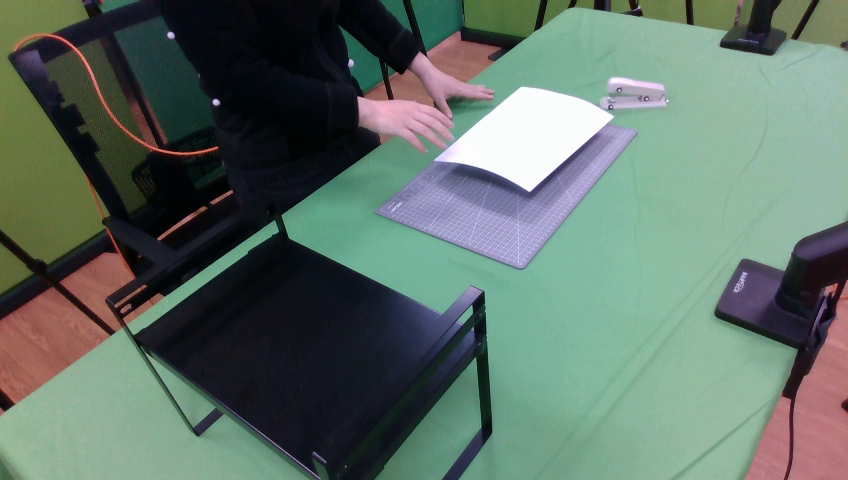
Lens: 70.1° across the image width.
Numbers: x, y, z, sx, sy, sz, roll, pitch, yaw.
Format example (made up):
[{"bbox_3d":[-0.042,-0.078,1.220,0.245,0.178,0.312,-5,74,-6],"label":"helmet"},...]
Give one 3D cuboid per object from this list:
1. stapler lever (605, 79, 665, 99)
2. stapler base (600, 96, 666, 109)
[{"bbox_3d":[0.431,-0.310,1.235,0.118,0.040,0.026,-1,44,7],"label":"stapler lever"},{"bbox_3d":[0.432,-0.292,1.251,0.130,0.024,0.041,0,44,7],"label":"stapler base"}]
